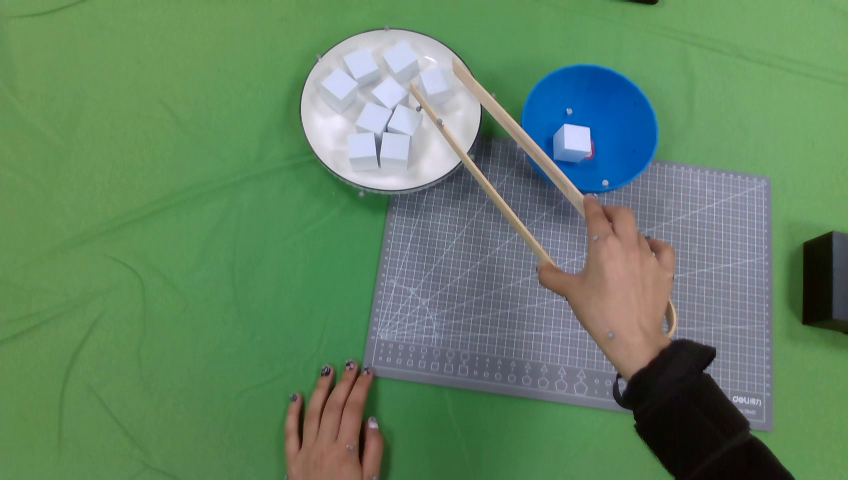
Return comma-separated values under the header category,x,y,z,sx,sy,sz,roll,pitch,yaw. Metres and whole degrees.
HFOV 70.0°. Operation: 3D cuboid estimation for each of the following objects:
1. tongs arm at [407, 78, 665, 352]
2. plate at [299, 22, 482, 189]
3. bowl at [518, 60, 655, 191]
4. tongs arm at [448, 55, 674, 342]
category,x,y,z,sx,sy,sz,roll,pitch,yaw
tongs arm,0.093,-0.044,0.602,0.051,0.027,0.381,-29,62,-7
plate,-0.038,-0.152,0.704,0.208,0.039,0.206,1,75,-3
bowl,0.174,-0.117,0.688,0.151,0.077,0.150,1,75,-4
tongs arm,0.122,-0.062,0.606,0.028,0.028,0.383,-28,62,-11
